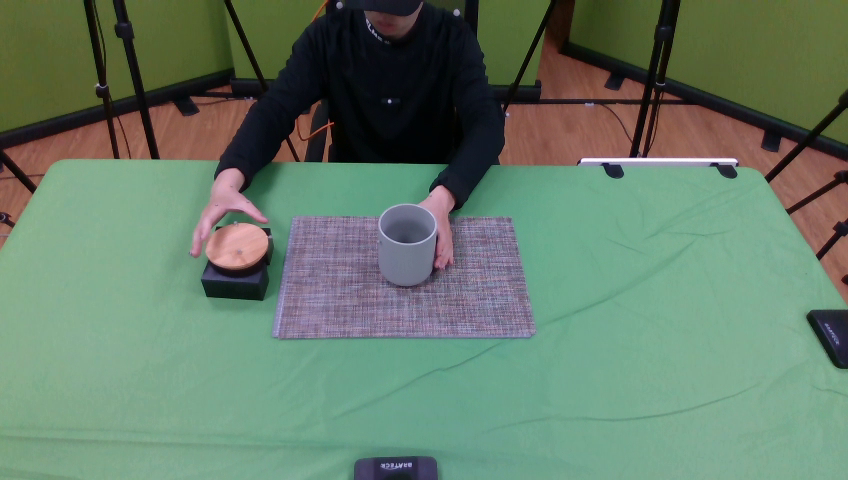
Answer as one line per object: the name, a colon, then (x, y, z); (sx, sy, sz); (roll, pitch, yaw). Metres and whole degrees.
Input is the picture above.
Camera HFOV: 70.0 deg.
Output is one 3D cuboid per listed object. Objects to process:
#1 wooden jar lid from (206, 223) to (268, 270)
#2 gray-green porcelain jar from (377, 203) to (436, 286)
wooden jar lid: (-0.336, 0.013, 1.093); (0.108, 0.021, 0.107); (2, 45, -2)
gray-green porcelain jar: (-0.033, 0.014, 1.106); (0.106, 0.127, 0.105); (2, 46, -2)
